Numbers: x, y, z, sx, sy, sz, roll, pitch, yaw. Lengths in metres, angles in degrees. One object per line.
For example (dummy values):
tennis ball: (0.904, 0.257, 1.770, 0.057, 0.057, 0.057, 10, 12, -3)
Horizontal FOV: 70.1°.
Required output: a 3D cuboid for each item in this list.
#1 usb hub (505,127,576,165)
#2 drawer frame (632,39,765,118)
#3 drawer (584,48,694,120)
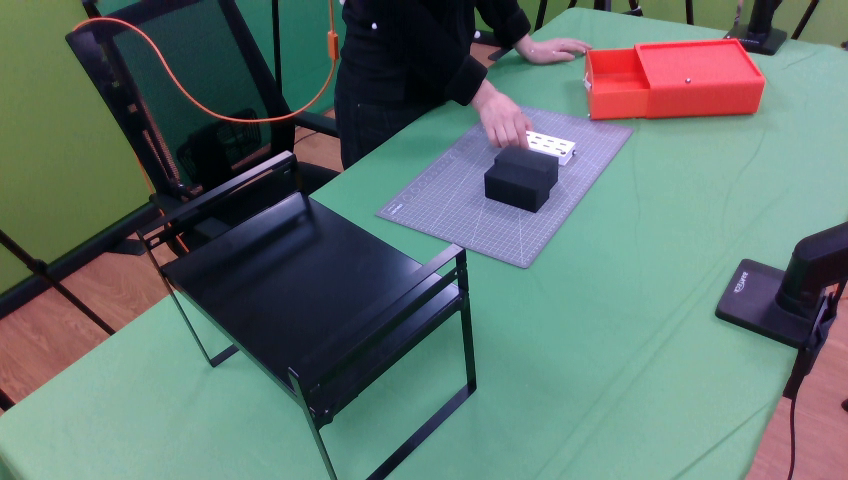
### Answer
usb hub: (0.219, -0.179, 1.139, 0.124, 0.025, 0.049, 21, 50, 26)
drawer frame: (0.544, -0.332, 1.233, 0.213, 0.083, 0.201, -1, 41, 6)
drawer: (0.442, -0.328, 1.250, 0.211, 0.073, 0.194, 1, 41, 8)
